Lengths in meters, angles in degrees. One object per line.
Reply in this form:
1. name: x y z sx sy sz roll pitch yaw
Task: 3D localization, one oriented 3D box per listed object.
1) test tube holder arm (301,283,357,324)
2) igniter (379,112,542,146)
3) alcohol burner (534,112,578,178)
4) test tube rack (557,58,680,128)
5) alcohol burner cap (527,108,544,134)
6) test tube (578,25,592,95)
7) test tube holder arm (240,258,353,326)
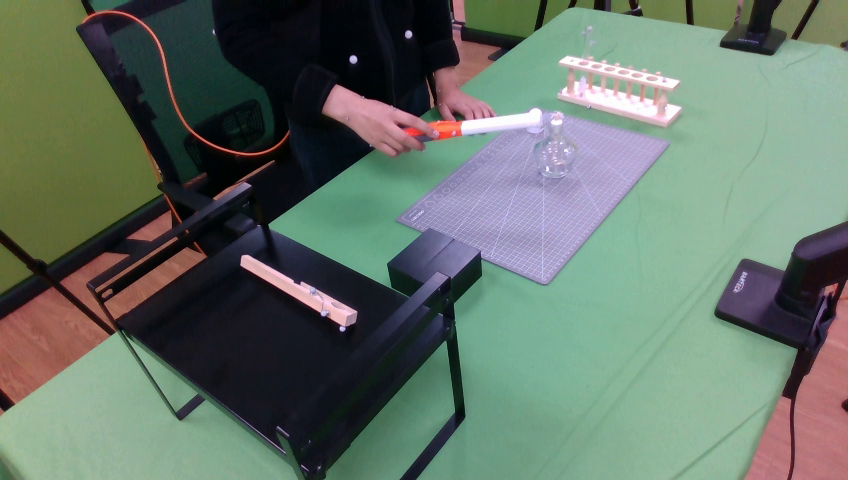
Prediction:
1. test tube holder arm: -0.105 0.066 0.638 0.087 0.015 0.010 22 14 33
2. igniter: 0.053 -0.182 0.992 0.275 0.025 0.057 -4 32 16
3. alcohol burner: 0.232 -0.170 1.066 0.078 0.119 0.077 -5 39 5
4. test tube rack: 0.395 -0.309 1.230 0.240 0.085 0.067 25 50 33
5. alcohol burner cap: 0.222 -0.238 1.203 0.034 0.048 0.033 -5 41 5
6. test tube: 0.326 -0.362 1.227 0.017 0.151 0.017 -3 44 4
7. test tube holder arm: -0.143 0.053 0.658 0.177 0.015 0.013 21 14 32
